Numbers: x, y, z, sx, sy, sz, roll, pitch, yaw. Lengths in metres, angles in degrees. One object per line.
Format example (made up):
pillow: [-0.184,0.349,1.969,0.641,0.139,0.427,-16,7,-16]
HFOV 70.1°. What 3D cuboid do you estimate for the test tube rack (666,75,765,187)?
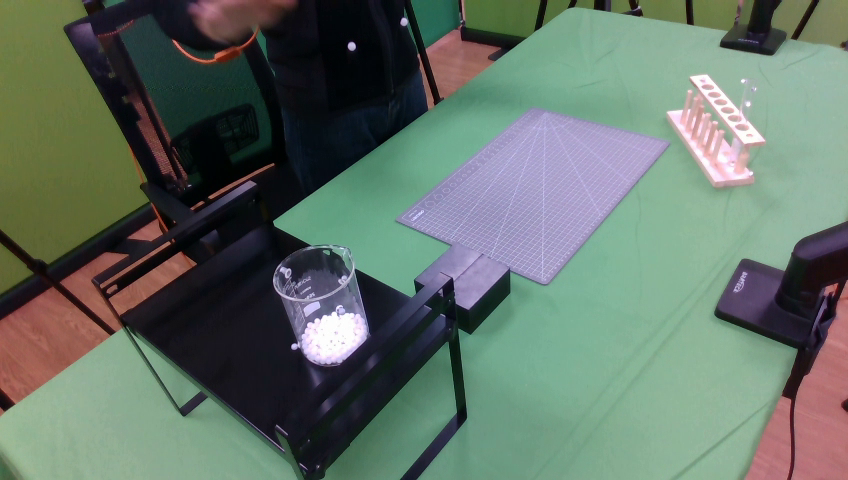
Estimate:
test tube rack: [0.512,-0.201,1.082,0.067,0.085,0.241,-6,41,2]

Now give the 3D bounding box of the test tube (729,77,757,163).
test tube: [0.525,-0.195,0.997,0.017,0.151,0.017,-4,36,4]

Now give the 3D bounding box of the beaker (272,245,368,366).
beaker: [-0.093,0.064,0.578,0.073,0.101,0.084,21,48,29]
